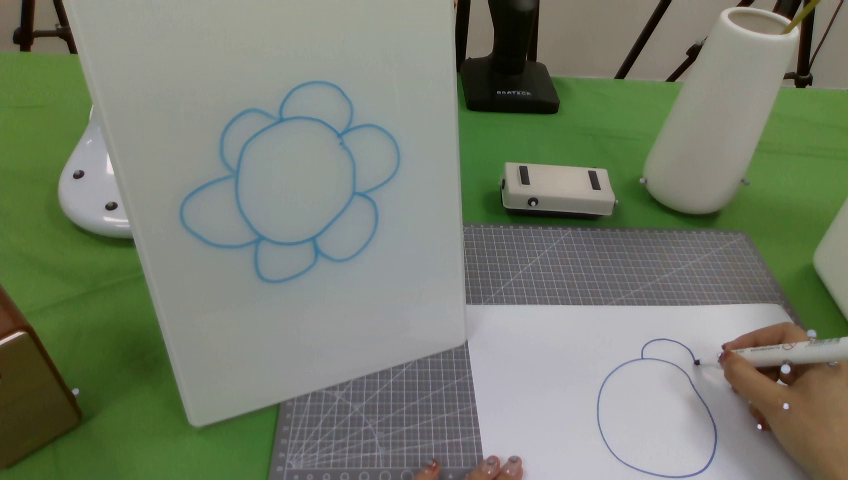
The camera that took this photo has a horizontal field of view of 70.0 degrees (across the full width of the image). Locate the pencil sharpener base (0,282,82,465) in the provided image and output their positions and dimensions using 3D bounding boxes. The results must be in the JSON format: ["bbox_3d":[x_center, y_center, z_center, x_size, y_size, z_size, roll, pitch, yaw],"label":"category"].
[{"bbox_3d":[-0.281,0.081,0.391,0.076,0.108,0.061,36,51,28],"label":"pencil sharpener base"}]

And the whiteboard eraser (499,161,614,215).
[{"bbox_3d":[0.136,-0.052,0.629,0.113,0.042,0.055,2,41,-3],"label":"whiteboard eraser"}]

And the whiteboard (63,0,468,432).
[{"bbox_3d":[-0.098,-0.052,0.451,0.218,0.307,0.142,-13,27,-18],"label":"whiteboard"}]

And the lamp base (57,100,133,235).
[{"bbox_3d":[-0.277,-0.123,0.554,0.178,0.182,0.160,30,48,27],"label":"lamp base"}]

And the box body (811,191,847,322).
[{"bbox_3d":[0.504,0.081,0.444,0.254,0.162,0.360,2,43,-4],"label":"box body"}]

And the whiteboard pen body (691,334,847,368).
[{"bbox_3d":[0.253,0.083,0.443,0.017,0.140,0.017,7,72,-25],"label":"whiteboard pen body"}]

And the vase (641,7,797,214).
[{"bbox_3d":[0.293,-0.123,0.608,0.098,0.201,0.097,4,43,-3],"label":"vase"}]

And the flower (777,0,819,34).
[{"bbox_3d":[0.310,-0.172,0.542,0.044,0.363,0.038,-18,66,-32],"label":"flower"}]
